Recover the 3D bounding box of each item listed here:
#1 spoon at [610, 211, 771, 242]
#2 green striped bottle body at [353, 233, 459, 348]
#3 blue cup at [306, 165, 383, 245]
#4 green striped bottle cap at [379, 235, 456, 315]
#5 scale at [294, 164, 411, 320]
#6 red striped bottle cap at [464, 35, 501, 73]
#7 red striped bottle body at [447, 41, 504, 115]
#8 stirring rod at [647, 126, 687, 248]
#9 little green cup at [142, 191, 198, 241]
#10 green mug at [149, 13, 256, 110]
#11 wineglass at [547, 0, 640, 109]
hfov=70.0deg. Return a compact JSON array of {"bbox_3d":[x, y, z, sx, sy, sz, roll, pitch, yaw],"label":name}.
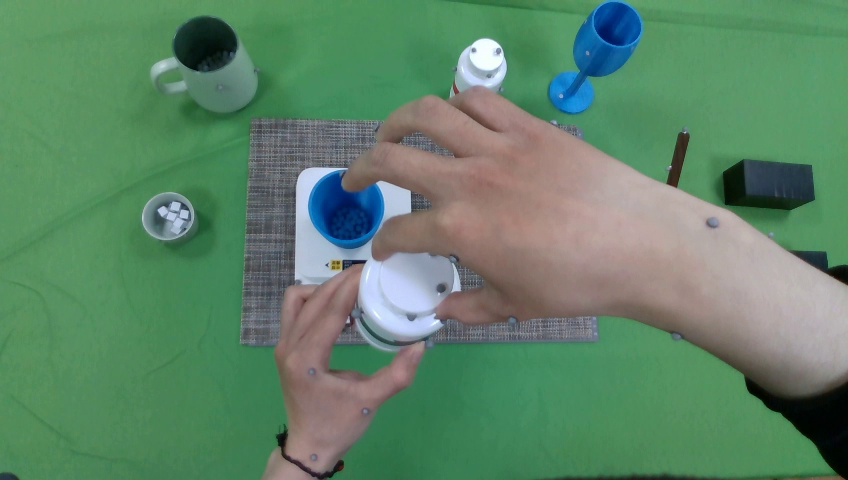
[{"bbox_3d":[0.327,-0.011,0.762,0.022,0.192,0.041,20,80,-45],"label":"spoon"},{"bbox_3d":[-0.014,0.035,0.402,0.063,0.119,0.063,3,74,-8],"label":"green striped bottle body"},{"bbox_3d":[-0.091,-0.032,0.714,0.093,0.100,0.092,1,80,-5],"label":"blue cup"},{"bbox_3d":[-0.004,0.020,0.349,0.044,0.020,0.044,-1,73,5],"label":"green striped bottle cap"},{"bbox_3d":[-0.091,0.000,0.774,0.149,0.031,0.200,-1,78,-5],"label":"scale"},{"bbox_3d":[0.072,-0.229,0.743,0.044,0.018,0.044,1,75,-5],"label":"red striped bottle cap"},{"bbox_3d":[0.068,-0.217,0.795,0.063,0.120,0.062,1,77,-5],"label":"red striped bottle body"},{"bbox_3d":[0.308,-0.063,0.771,0.014,0.177,0.006,5,36,9],"label":"stirring rod"},{"bbox_3d":[-0.314,-0.028,0.758,0.061,0.039,0.061,2,77,-6],"label":"little green cup"},{"bbox_3d":[-0.283,-0.218,0.769,0.125,0.105,0.092,-22,81,-9],"label":"green mug"},{"bbox_3d":[0.214,-0.237,0.786,0.074,0.173,0.073,1,77,-4],"label":"wineglass"}]
